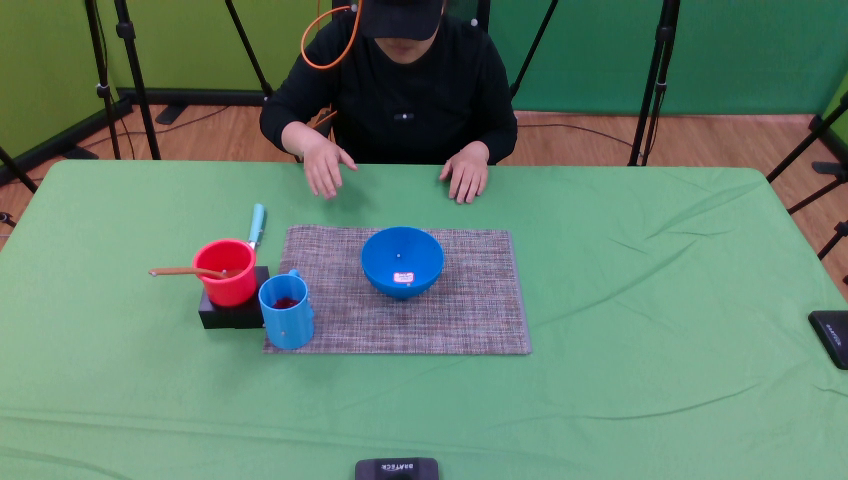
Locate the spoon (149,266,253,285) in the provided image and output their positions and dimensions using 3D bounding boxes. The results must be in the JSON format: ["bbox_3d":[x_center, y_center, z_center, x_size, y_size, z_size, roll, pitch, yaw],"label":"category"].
[{"bbox_3d":[-0.351,0.052,0.968,0.041,0.021,0.194,41,12,28],"label":"spoon"}]

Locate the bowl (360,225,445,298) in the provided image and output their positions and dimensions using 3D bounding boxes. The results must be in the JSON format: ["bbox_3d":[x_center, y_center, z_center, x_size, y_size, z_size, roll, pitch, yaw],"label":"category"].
[{"bbox_3d":[-0.040,0.053,1.099,0.151,0.077,0.150,2,46,-2],"label":"bowl"}]

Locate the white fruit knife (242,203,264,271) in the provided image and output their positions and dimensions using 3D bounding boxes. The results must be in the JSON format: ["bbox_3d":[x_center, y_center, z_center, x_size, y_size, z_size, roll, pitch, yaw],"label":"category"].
[{"bbox_3d":[-0.334,0.001,1.179,0.027,0.016,0.206,-18,46,16],"label":"white fruit knife"}]

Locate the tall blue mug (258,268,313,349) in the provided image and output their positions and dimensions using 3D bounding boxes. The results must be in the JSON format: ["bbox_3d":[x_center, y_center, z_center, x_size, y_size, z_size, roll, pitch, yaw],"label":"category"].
[{"bbox_3d":[-0.232,0.108,1.010,0.078,0.108,0.106,-15,49,-17],"label":"tall blue mug"}]
